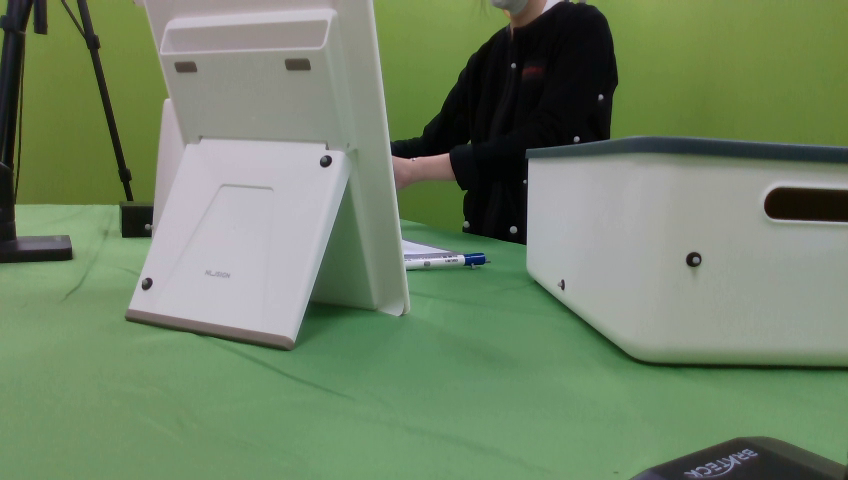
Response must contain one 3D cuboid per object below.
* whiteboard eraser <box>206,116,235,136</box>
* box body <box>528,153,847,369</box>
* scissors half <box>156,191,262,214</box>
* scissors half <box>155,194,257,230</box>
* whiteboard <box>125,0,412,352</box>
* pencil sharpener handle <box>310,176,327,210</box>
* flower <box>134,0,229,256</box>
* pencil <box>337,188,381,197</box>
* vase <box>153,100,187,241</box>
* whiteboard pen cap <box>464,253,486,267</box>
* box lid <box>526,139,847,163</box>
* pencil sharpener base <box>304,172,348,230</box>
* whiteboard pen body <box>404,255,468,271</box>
[{"bbox_3d":[-0.450,-0.252,1.335,0.056,0.042,0.112,1,7,-22],"label":"whiteboard eraser"},{"bbox_3d":[0.258,-0.005,0.591,0.254,0.160,0.363,2,7,-4],"label":"box body"},{"bbox_3d":[-0.371,-0.069,1.051,0.176,0.040,0.013,2,25,-24],"label":"scissors half"},{"bbox_3d":[-0.378,-0.051,1.058,0.176,0.040,0.012,20,22,-31],"label":"scissors half"},{"bbox_3d":[-0.151,-0.049,0.472,0.216,0.305,0.144,6,27,24],"label":"whiteboard"},{"bbox_3d":[-0.214,-0.093,1.194,0.036,0.067,0.030,-6,10,-32],"label":"pencil sharpener handle"},{"bbox_3d":[-0.282,-0.147,0.713,0.038,0.362,0.044,-23,23,-31],"label":"flower"},{"bbox_3d":[-0.116,-0.083,1.035,0.012,0.012,0.193,-1,6,-28],"label":"pencil"},{"bbox_3d":[-0.278,-0.066,0.736,0.098,0.200,0.098,2,9,0],"label":"vase"},{"bbox_3d":[0.066,0.027,0.818,0.033,0.018,0.018,-6,10,-24],"label":"whiteboard pen cap"},{"bbox_3d":[0.261,-0.078,0.580,0.264,0.015,0.371,2,7,-4],"label":"box lid"},{"bbox_3d":[-0.188,-0.075,1.152,0.062,0.107,0.076,-1,7,-33],"label":"pencil sharpener base"},{"bbox_3d":[0.013,0.030,0.792,0.141,0.017,0.017,-3,9,-24],"label":"whiteboard pen body"}]
